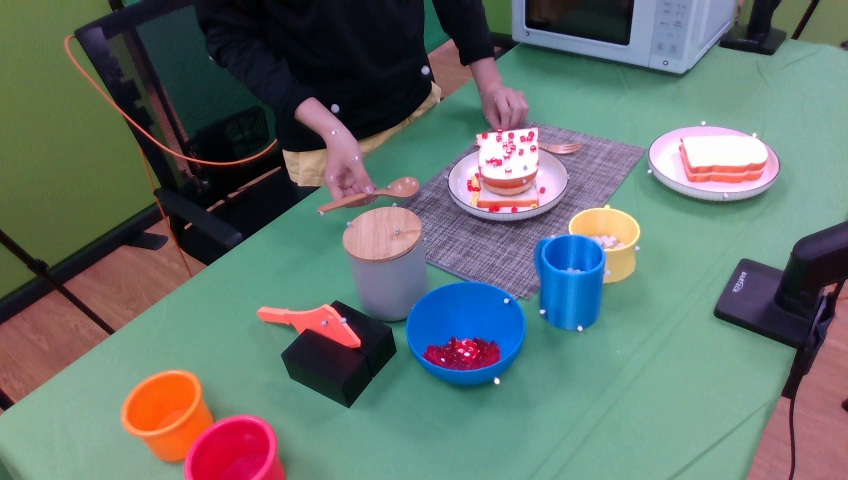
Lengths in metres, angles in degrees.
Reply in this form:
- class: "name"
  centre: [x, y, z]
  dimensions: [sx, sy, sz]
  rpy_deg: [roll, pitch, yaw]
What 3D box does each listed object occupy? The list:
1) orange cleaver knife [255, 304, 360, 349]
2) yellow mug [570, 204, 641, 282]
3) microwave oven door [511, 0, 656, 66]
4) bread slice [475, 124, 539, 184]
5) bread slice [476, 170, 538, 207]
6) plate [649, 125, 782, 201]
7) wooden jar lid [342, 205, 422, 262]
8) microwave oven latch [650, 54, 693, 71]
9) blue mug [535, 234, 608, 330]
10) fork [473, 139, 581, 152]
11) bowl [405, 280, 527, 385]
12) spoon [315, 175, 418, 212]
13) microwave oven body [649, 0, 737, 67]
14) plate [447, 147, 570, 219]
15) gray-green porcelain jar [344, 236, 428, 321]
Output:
- class: "orange cleaver knife"
  centre: [-0.161, 0.115, 0.813]
  dimensions: [0.210, 0.077, 0.012]
  rpy_deg: [-4, 32, 47]
- class: "yellow mug"
  centre: [0.268, -0.005, 0.904]
  dimensions: [0.099, 0.064, 0.130]
  rpy_deg: [7, 41, 15]
- class: "microwave oven door"
  centre: [0.351, -0.539, 1.349]
  dimensions: [0.353, 0.245, 0.039]
  rpy_deg: [24, 50, 31]
- class: "bread slice"
  centre: [0.143, -0.144, 1.009]
  dimensions: [0.107, 0.018, 0.133]
  rpy_deg: [-7, 46, 7]
- class: "bread slice"
  centre: [0.144, -0.104, 1.058]
  dimensions: [0.105, 0.019, 0.131]
  rpy_deg: [0, 43, 5]
- class: "plate"
  centre: [0.493, -0.128, 1.036]
  dimensions: [0.207, 0.039, 0.206]
  rpy_deg: [-4, 41, 4]
- class: "wooden jar lid"
  centre: [-0.055, -0.006, 0.808]
  dimensions: [0.108, 0.021, 0.108]
  rpy_deg: [-6, 41, 6]
- class: "microwave oven latch"
  centre: [0.531, -0.386, 1.301]
  dimensions: [0.078, 0.029, 0.030]
  rpy_deg: [26, 51, 33]
- class: "blue mug"
  centre: [0.191, 0.048, 0.824]
  dimensions: [0.082, 0.106, 0.115]
  rpy_deg: [-26, 44, -21]
- class: "fork"
  centre: [0.194, -0.185, 1.153]
  dimensions: [0.206, 0.019, 0.028]
  rpy_deg: [7, 53, 14]
- class: "bowl"
  centre: [0.055, 0.131, 0.767]
  dimensions: [0.151, 0.077, 0.150]
  rpy_deg: [-4, 40, 4]
- class: "spoon"
  centre: [-0.090, -0.074, 0.974]
  dimensions: [0.195, 0.021, 0.041]
  rpy_deg: [-17, 60, -38]
- class: "microwave oven body"
  centre: [0.475, -0.602, 1.411]
  dimensions: [0.438, 0.261, 0.327]
  rpy_deg: [23, 50, 32]
- class: "plate"
  centre: [0.145, -0.098, 1.046]
  dimensions: [0.209, 0.038, 0.208]
  rpy_deg: [-4, 40, 4]
- class: "gray-green porcelain jar"
  centre: [-0.049, 0.042, 0.849]
  dimensions: [0.106, 0.127, 0.105]
  rpy_deg: [-4, 41, 4]
